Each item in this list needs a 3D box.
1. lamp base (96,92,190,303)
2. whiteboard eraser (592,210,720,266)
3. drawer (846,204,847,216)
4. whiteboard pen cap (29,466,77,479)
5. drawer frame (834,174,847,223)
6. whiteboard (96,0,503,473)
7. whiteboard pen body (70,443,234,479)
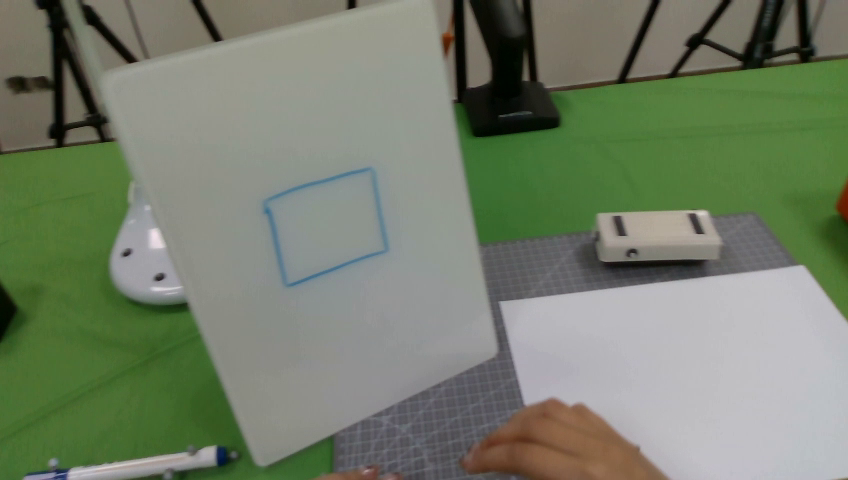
[{"bbox_3d":[-0.268,-0.053,0.612,0.178,0.182,0.160,21,47,30],"label":"lamp base"},{"bbox_3d":[0.228,-0.001,0.603,0.112,0.042,0.055,-2,39,3],"label":"whiteboard eraser"},{"bbox_3d":[0.536,0.004,0.540,0.194,0.074,0.209,-5,40,1],"label":"drawer"},{"bbox_3d":[-0.277,0.181,0.457,0.033,0.018,0.018,-5,40,-10],"label":"whiteboard pen cap"},{"bbox_3d":[0.535,-0.001,0.544,0.202,0.083,0.211,-7,40,0],"label":"drawer frame"},{"bbox_3d":[-0.086,-0.014,0.497,0.217,0.307,0.142,-21,24,-17],"label":"whiteboard"},{"bbox_3d":[-0.219,0.174,0.464,0.141,0.017,0.017,-7,40,-7],"label":"whiteboard pen body"}]
